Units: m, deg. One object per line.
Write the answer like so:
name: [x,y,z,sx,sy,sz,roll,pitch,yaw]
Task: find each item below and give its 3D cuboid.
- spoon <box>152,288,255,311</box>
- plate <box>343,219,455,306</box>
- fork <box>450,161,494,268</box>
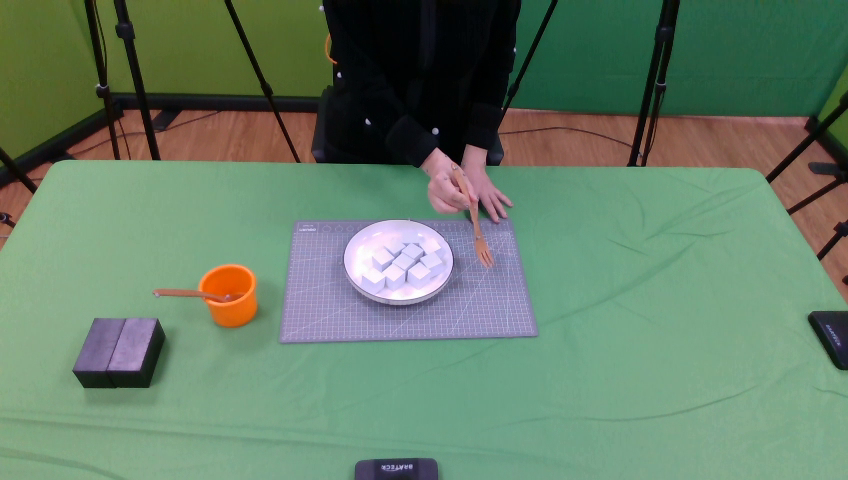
spoon: [-0.356,0.092,0.992,0.021,0.195,0.041,-46,59,13]
plate: [-0.047,0.045,1.136,0.208,0.039,0.206,2,46,-2]
fork: [0.085,-0.045,1.096,0.028,0.208,0.018,-28,17,-28]
